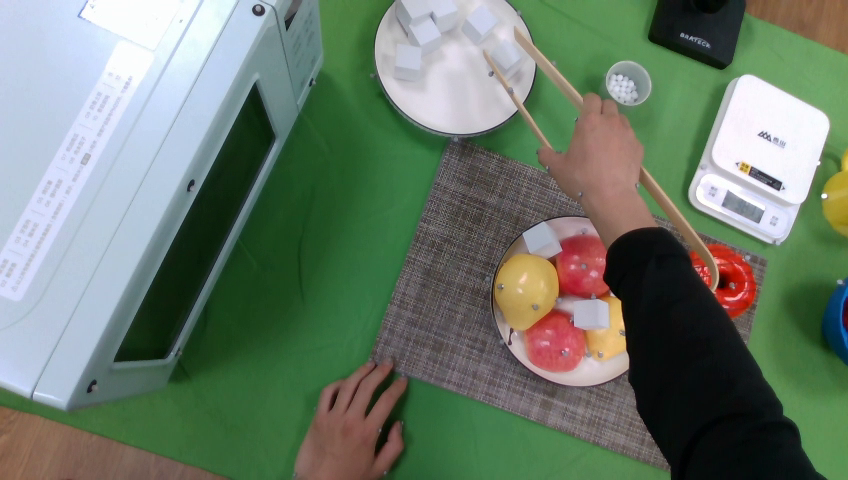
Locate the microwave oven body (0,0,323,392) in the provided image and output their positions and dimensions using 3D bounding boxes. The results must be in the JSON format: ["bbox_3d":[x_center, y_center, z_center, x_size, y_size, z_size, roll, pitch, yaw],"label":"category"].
[{"bbox_3d":[-0.339,-0.121,0.589,0.326,0.260,0.440,24,80,-4],"label":"microwave oven body"}]

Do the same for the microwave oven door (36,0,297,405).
[{"bbox_3d":[-0.221,-0.025,0.584,0.039,0.244,0.354,23,79,-3],"label":"microwave oven door"}]

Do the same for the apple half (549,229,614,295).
[{"bbox_3d":[0.193,0.025,0.732,0.075,0.053,0.080,9,84,-3],"label":"apple half"}]

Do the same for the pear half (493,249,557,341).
[{"bbox_3d":[0.118,0.067,0.712,0.076,0.056,0.109,15,84,-13],"label":"pear half"}]

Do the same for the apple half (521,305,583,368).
[{"bbox_3d":[0.156,0.115,0.723,0.081,0.033,0.081,2,75,-9],"label":"apple half"}]

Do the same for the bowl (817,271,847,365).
[{"bbox_3d":[0.564,0.103,0.771,0.152,0.077,0.151,1,82,-7],"label":"bowl"}]

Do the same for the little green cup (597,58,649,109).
[{"bbox_3d":[0.259,-0.203,0.796,0.061,0.038,0.061,1,81,-7],"label":"little green cup"}]

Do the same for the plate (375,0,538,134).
[{"bbox_3d":[0.040,-0.231,0.772,0.208,0.039,0.207,1,81,-7],"label":"plate"}]

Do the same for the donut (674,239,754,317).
[{"bbox_3d":[0.364,0.048,0.766,0.099,0.048,0.098,1,81,-4],"label":"donut"}]

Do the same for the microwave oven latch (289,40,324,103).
[{"bbox_3d":[-0.146,-0.206,0.725,0.030,0.029,0.079,26,80,-3],"label":"microwave oven latch"}]

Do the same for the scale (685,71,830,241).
[{"bbox_3d":[0.447,-0.114,0.811,0.149,0.031,0.200,25,80,-3],"label":"scale"}]

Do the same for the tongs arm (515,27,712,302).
[{"bbox_3d":[0.198,-0.101,0.667,0.028,0.028,0.384,-28,66,-2],"label":"tongs arm"}]

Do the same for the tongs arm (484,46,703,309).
[{"bbox_3d":[0.173,-0.086,0.668,0.051,0.027,0.381,-27,67,2],"label":"tongs arm"}]

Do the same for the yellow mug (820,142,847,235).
[{"bbox_3d":[0.592,-0.074,0.806,0.100,0.064,0.130,-11,82,-8],"label":"yellow mug"}]

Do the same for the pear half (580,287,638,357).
[{"bbox_3d":[0.226,0.099,0.736,0.070,0.031,0.087,22,77,10],"label":"pear half"}]

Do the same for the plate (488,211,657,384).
[{"bbox_3d":[0.179,0.069,0.741,0.209,0.038,0.208,1,81,-7],"label":"plate"}]
